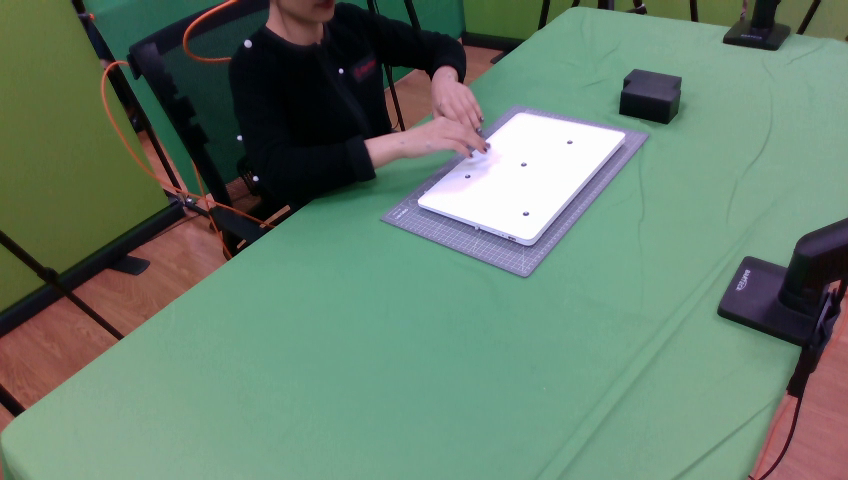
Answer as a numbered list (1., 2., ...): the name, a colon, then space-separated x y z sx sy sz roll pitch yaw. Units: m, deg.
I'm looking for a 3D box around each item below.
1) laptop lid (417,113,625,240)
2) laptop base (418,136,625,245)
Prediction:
1. laptop lid: 0.180 -0.132 1.088 0.239 0.013 0.358 22 49 34
2. laptop base: 0.183 -0.123 1.094 0.233 0.023 0.355 19 48 34
